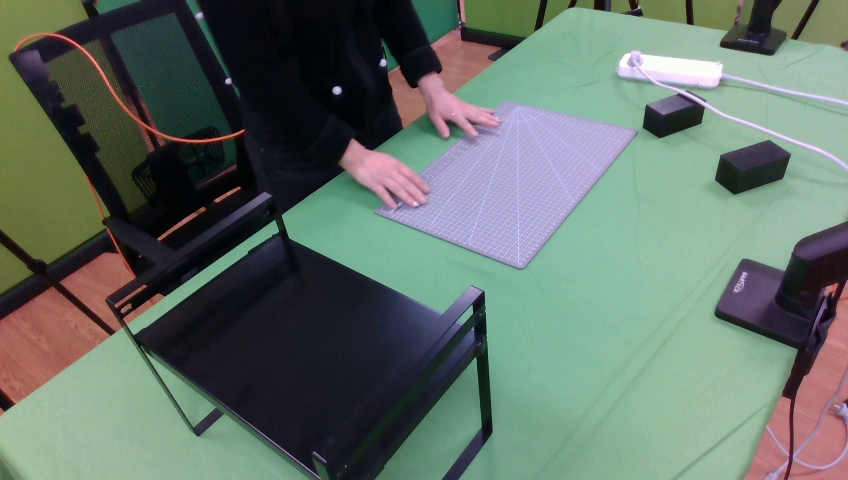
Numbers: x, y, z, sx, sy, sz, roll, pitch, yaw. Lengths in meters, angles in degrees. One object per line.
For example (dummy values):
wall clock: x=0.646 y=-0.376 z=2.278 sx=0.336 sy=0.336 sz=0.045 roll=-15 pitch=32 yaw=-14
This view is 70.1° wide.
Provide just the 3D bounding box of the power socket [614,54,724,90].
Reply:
power socket: x=0.531 y=-0.367 z=1.316 sx=0.225 sy=0.033 sz=0.072 roll=15 pitch=46 yaw=24

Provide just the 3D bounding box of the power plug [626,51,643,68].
power plug: x=0.450 y=-0.380 z=1.315 sx=0.035 sy=0.053 sz=0.073 roll=23 pitch=52 yaw=32
